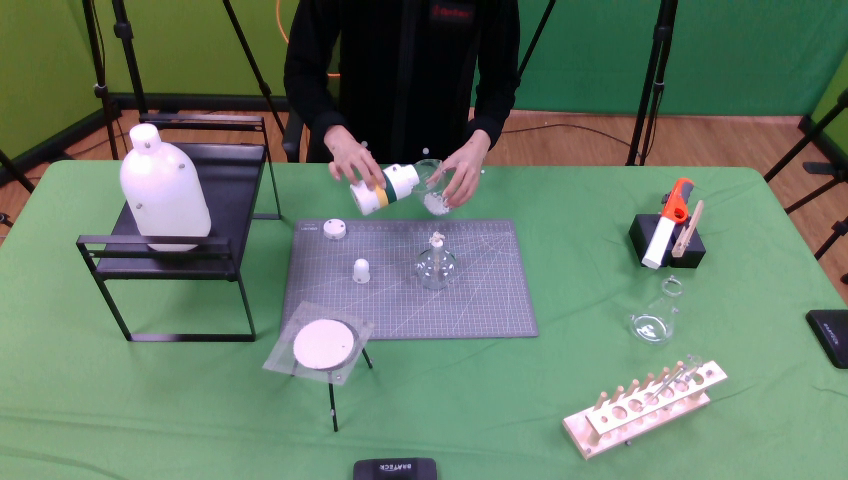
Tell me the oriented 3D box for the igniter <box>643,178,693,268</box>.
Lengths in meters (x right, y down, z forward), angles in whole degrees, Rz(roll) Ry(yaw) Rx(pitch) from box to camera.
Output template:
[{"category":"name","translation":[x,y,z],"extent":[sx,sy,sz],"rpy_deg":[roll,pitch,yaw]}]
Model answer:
[{"category":"igniter","translation":[0.488,-0.042,1.205],"extent":[0.057,0.025,0.276],"rpy_deg":[30,51,11]}]

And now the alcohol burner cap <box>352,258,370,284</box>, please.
[{"category":"alcohol burner cap","translation":[-0.117,0.055,1.118],"extent":[0.034,0.048,0.033],"rpy_deg":[2,46,-1]}]

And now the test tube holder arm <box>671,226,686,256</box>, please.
[{"category":"test tube holder arm","translation":[0.494,0.001,1.166],"extent":[0.010,0.015,0.087],"rpy_deg":[1,36,42]}]

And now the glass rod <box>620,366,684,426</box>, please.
[{"category":"glass rod","translation":[0.322,0.227,0.866],"extent":[0.008,0.200,0.008],"rpy_deg":[5,51,-7]}]

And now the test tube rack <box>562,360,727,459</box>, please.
[{"category":"test tube rack","translation":[0.341,0.247,0.940],"extent":[0.243,0.085,0.066],"rpy_deg":[-16,49,-19]}]

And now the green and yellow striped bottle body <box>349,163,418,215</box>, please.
[{"category":"green and yellow striped bottle body","translation":[-0.071,-0.098,1.103],"extent":[0.120,0.063,0.063],"rpy_deg":[-26,52,-12]}]

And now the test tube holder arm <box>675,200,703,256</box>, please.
[{"category":"test tube holder arm","translation":[0.523,-0.025,1.190],"extent":[0.013,0.015,0.178],"rpy_deg":[1,36,41]}]

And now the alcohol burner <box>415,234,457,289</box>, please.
[{"category":"alcohol burner","translation":[0.022,0.033,1.099],"extent":[0.078,0.120,0.077],"rpy_deg":[1,47,-1]}]

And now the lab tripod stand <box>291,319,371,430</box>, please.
[{"category":"lab tripod stand","translation":[-0.146,0.193,0.923],"extent":[0.148,0.132,0.147],"rpy_deg":[1,47,-1]}]

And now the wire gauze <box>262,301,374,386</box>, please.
[{"category":"wire gauze","translation":[-0.150,0.148,0.873],"extent":[0.121,0.011,0.124],"rpy_deg":[14,46,12]}]

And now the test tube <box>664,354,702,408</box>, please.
[{"category":"test tube","translation":[0.385,0.215,0.906],"extent":[0.017,0.151,0.017],"rpy_deg":[-1,49,1]}]

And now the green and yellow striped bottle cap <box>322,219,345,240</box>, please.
[{"category":"green and yellow striped bottle cap","translation":[-0.180,-0.022,1.206],"extent":[0.045,0.020,0.045],"rpy_deg":[2,45,-1]}]

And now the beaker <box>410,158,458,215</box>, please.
[{"category":"beaker","translation":[0.019,-0.101,1.166],"extent":[0.084,0.101,0.073],"rpy_deg":[-45,53,-3]}]

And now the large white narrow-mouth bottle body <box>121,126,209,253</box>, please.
[{"category":"large white narrow-mouth bottle body","translation":[-0.378,-0.077,0.875],"extent":[0.102,0.195,0.101],"rpy_deg":[3,46,-3]}]

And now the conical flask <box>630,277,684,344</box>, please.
[{"category":"conical flask","translation":[0.408,0.117,1.045],"extent":[0.075,0.122,0.075],"rpy_deg":[2,46,-2]}]

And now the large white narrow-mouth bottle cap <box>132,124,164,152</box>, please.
[{"category":"large white narrow-mouth bottle cap","translation":[-0.370,-0.137,0.813],"extent":[0.038,0.024,0.037],"rpy_deg":[3,46,-3]}]
